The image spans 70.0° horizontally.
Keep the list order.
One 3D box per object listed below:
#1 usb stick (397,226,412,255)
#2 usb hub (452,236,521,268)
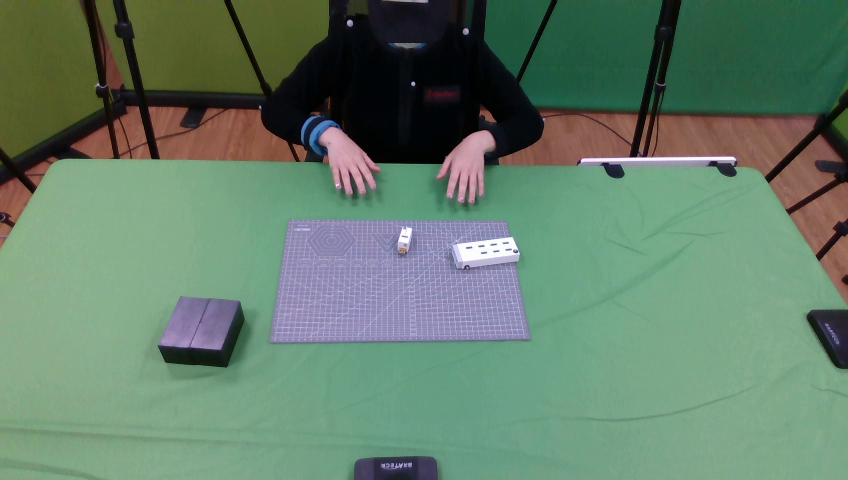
[{"bbox_3d":[-0.038,0.003,1.184,0.021,0.027,0.059,11,49,4],"label":"usb stick"},{"bbox_3d":[0.121,0.024,1.176,0.125,0.025,0.049,-7,48,-10],"label":"usb hub"}]
